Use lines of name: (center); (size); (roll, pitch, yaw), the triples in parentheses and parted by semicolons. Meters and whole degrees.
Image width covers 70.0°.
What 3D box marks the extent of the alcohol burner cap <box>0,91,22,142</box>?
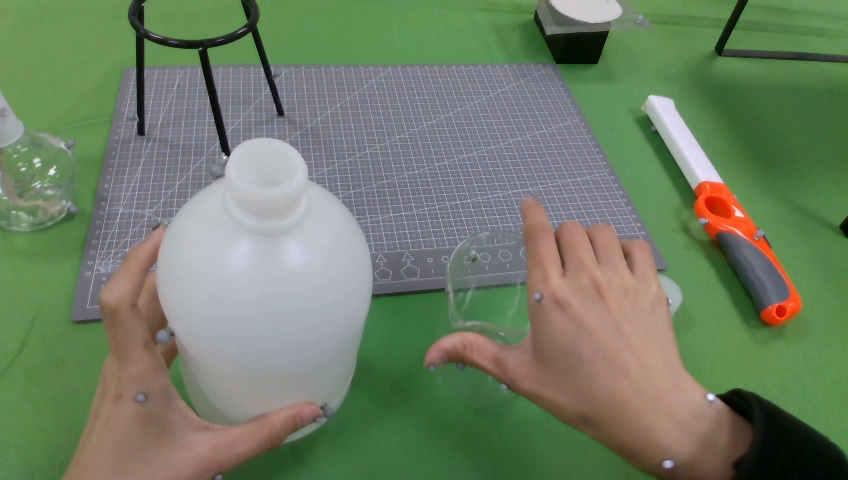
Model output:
alcohol burner cap: (-0.293, -0.090, 0.399); (0.034, 0.048, 0.033); (4, 56, -5)

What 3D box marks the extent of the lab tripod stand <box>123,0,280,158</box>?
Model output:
lab tripod stand: (-0.170, -0.126, 0.479); (0.149, 0.132, 0.147); (6, 50, -6)

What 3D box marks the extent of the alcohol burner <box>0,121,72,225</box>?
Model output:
alcohol burner: (-0.297, -0.068, 0.427); (0.078, 0.120, 0.077); (5, 48, -5)

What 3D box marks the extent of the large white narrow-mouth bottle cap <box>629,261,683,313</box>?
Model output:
large white narrow-mouth bottle cap: (0.181, 0.037, 0.474); (0.038, 0.024, 0.037); (4, 49, -4)

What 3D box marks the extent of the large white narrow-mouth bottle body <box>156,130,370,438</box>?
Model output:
large white narrow-mouth bottle body: (-0.079, 0.024, 0.306); (0.102, 0.196, 0.101); (6, 54, -8)

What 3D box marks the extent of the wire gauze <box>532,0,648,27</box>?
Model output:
wire gauze: (0.174, -0.274, 0.680); (0.122, 0.011, 0.123); (-2, 51, -13)

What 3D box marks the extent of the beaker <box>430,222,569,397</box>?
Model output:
beaker: (0.041, 0.051, 0.388); (0.084, 0.101, 0.073); (-33, 61, -30)

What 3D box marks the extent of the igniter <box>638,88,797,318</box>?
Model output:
igniter: (0.259, -0.046, 0.551); (0.057, 0.025, 0.273); (5, 49, -18)
